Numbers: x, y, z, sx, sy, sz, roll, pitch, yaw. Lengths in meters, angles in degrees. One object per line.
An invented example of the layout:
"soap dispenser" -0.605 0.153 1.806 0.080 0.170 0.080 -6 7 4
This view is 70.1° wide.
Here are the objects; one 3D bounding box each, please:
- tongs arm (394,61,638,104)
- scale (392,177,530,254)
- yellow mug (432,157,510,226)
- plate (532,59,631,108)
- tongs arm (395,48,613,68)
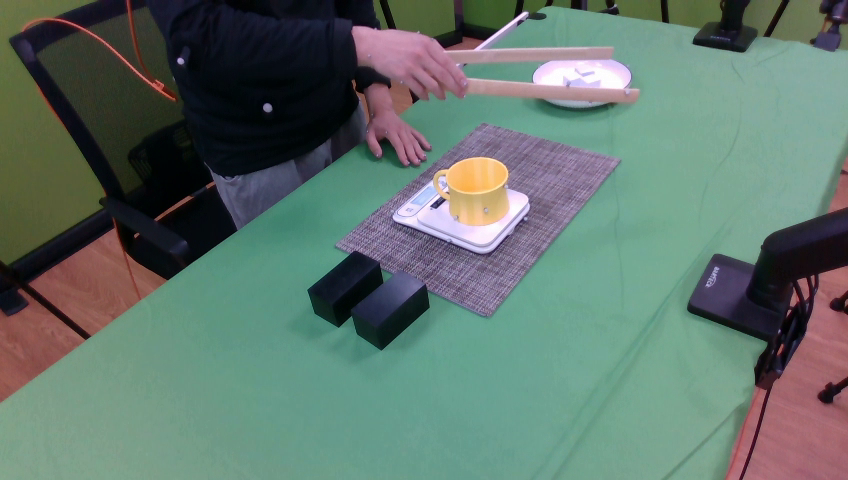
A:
"tongs arm" 0.146 -0.249 0.957 0.386 0.026 0.050 1 49 -7
"scale" 0.060 -0.050 1.006 0.199 0.032 0.149 22 48 30
"yellow mug" 0.072 -0.082 0.968 0.130 0.064 0.100 13 45 24
"plate" 0.336 -0.336 1.301 0.207 0.039 0.206 -4 41 4
"tongs arm" 0.138 -0.301 1.004 0.389 0.028 0.028 -6 54 -14
